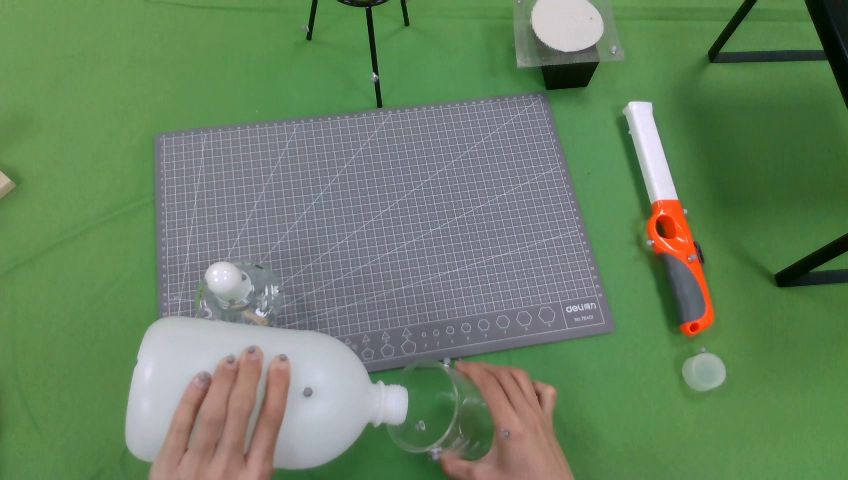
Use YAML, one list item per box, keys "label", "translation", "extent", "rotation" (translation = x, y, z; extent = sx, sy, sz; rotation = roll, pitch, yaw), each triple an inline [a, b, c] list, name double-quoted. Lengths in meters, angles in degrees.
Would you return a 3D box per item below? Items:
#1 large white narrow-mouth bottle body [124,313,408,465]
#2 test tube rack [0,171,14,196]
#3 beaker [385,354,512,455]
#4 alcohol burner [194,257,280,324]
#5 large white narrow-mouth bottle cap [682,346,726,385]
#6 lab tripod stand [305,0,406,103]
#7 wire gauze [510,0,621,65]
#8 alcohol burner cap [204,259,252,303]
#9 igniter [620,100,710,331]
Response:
- label: "large white narrow-mouth bottle body"
  translation: [-0.109, 0.115, 0.454]
  extent: [0.195, 0.102, 0.101]
  rotation: [9, 67, -16]
- label: "test tube rack"
  translation: [-0.528, -0.009, 0.564]
  extent: [0.066, 0.085, 0.242]
  rotation: [38, 71, 10]
- label: "beaker"
  translation: [0.023, 0.147, 0.527]
  extent: [0.084, 0.101, 0.073]
  rotation: [-19, 59, 33]
- label: "alcohol burner"
  translation: [-0.173, 0.046, 0.553]
  extent: [0.078, 0.120, 0.077]
  rotation: [2, 67, -5]
- label: "large white narrow-mouth bottle cap"
  translation: [0.282, 0.126, 0.611]
  extent: [0.038, 0.024, 0.037]
  rotation: [2, 68, -3]
- label: "lab tripod stand"
  translation: [-0.067, -0.248, 0.669]
  extent: [0.148, 0.132, 0.147]
  rotation: [2, 69, -5]
- label: "wire gauze"
  translation: [0.160, -0.257, 0.704]
  extent: [0.121, 0.011, 0.124]
  rotation: [-1, 68, -5]
- label: "alcohol burner cap"
  translation: [-0.170, 0.034, 0.519]
  extent: [0.034, 0.048, 0.033]
  rotation: [0, 73, -1]
- label: "igniter"
  translation: [0.263, -0.035, 0.668]
  extent: [0.057, 0.025, 0.274]
  rotation: [-1, 68, -16]
